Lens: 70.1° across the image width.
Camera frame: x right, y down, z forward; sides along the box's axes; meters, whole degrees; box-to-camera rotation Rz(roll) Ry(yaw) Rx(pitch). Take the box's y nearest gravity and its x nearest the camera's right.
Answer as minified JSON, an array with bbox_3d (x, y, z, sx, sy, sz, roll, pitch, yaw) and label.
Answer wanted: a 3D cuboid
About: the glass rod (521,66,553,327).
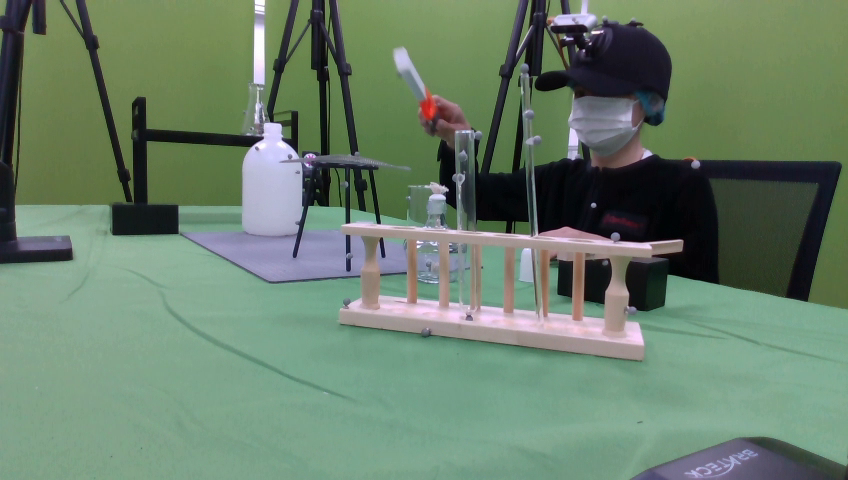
[{"bbox_3d":[0.085,-0.028,0.454,0.008,0.199,0.008,-7,10,2],"label":"glass rod"}]

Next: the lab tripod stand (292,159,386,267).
[{"bbox_3d":[-0.105,-0.039,0.797,0.148,0.131,0.148,2,5,0],"label":"lab tripod stand"}]

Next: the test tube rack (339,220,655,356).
[{"bbox_3d":[0.056,0.032,0.495,0.242,0.085,0.067,4,7,15],"label":"test tube rack"}]

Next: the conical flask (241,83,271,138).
[{"bbox_3d":[-0.384,-0.297,1.393,0.075,0.122,0.075,2,7,0],"label":"conical flask"}]

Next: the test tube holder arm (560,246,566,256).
[{"bbox_3d":[0.173,0.007,0.611,0.088,0.015,0.010,-3,9,-30],"label":"test tube holder arm"}]

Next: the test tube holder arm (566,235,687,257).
[{"bbox_3d":[0.215,0.006,0.629,0.179,0.015,0.013,-3,9,-30],"label":"test tube holder arm"}]

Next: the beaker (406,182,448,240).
[{"bbox_3d":[0.008,-0.053,1.102,0.074,0.100,0.083,-6,12,-43],"label":"beaker"}]

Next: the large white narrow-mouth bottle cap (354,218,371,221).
[{"bbox_3d":[-0.120,-0.029,1.184,0.038,0.024,0.037,2,8,0],"label":"large white narrow-mouth bottle cap"}]

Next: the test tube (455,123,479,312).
[{"bbox_3d":[0.034,-0.016,0.476,0.017,0.150,0.017,-2,10,1],"label":"test tube"}]

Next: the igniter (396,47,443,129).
[{"bbox_3d":[-0.002,-0.235,0.969,0.025,0.057,0.277,-11,-9,10],"label":"igniter"}]

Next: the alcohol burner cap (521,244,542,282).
[{"bbox_3d":[0.136,0.026,0.741,0.034,0.048,0.034,1,6,0],"label":"alcohol burner cap"}]

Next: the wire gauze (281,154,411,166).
[{"bbox_3d":[-0.102,-0.105,0.785,0.121,0.011,0.126,7,8,43],"label":"wire gauze"}]

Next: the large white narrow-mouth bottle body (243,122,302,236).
[{"bbox_3d":[-0.264,-0.109,1.061,0.102,0.194,0.102,2,8,0],"label":"large white narrow-mouth bottle body"}]

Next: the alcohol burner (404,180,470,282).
[{"bbox_3d":[0.015,-0.011,0.715,0.078,0.119,0.078,0,7,0],"label":"alcohol burner"}]
